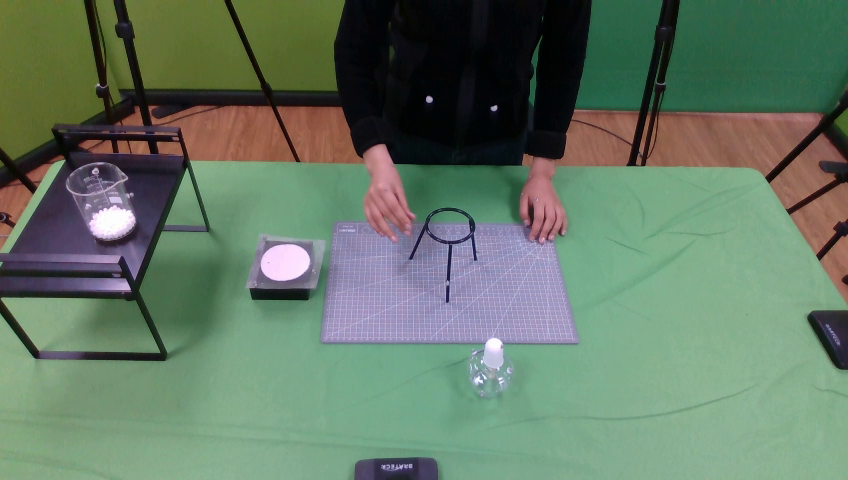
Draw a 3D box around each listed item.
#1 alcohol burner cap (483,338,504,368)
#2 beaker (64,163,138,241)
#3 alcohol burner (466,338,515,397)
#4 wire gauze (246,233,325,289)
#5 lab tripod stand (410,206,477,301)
[{"bbox_3d":[0.108,0.170,0.928,0.034,0.048,0.033,0,41,1],"label":"alcohol burner cap"},{"bbox_3d":[-0.478,-0.055,0.910,0.084,0.101,0.073,-9,48,-13],"label":"beaker"},{"bbox_3d":[0.106,0.194,0.952,0.078,0.120,0.077,0,45,0],"label":"alcohol burner"},{"bbox_3d":[-0.245,0.037,1.082,0.121,0.011,0.124,5,47,-3],"label":"wire gauze"},{"bbox_3d":[0.040,0.015,1.101,0.148,0.132,0.147,1,47,-1],"label":"lab tripod stand"}]
